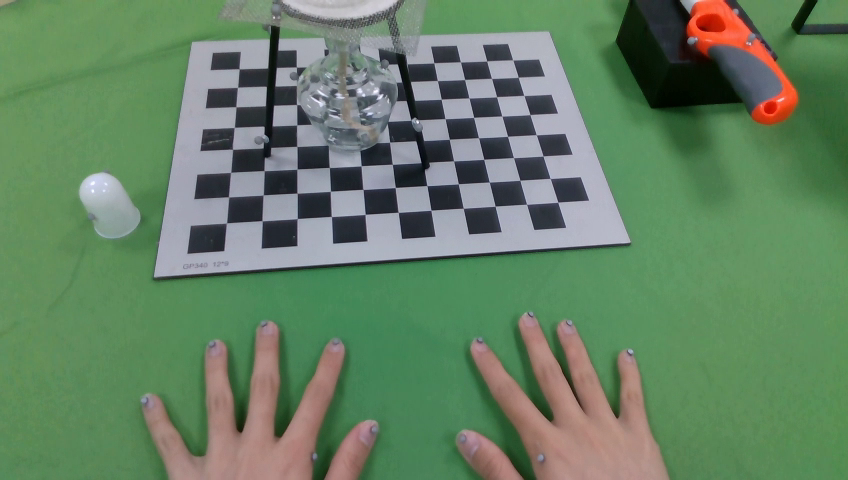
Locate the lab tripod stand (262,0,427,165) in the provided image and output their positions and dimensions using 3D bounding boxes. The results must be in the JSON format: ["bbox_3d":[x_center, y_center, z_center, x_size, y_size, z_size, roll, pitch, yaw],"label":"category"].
[{"bbox_3d":[-0.056,-0.130,0.452,0.148,0.132,0.147,3,53,-4],"label":"lab tripod stand"}]

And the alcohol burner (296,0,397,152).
[{"bbox_3d":[-0.060,-0.126,0.460,0.078,0.120,0.077,1,55,0],"label":"alcohol burner"}]

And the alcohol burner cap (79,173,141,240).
[{"bbox_3d":[-0.224,-0.026,0.426,0.034,0.048,0.033,2,54,-3],"label":"alcohol burner cap"}]

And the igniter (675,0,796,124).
[{"bbox_3d":[0.249,-0.197,0.533,0.057,0.025,0.273,-6,52,-4],"label":"igniter"}]

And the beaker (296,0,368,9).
[{"bbox_3d":[-0.058,-0.196,0.357,0.074,0.101,0.083,3,54,-2],"label":"beaker"}]

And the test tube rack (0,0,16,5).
[{"bbox_3d":[-0.374,-0.307,0.592,0.242,0.086,0.066,-34,63,-25],"label":"test tube rack"}]

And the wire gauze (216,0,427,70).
[{"bbox_3d":[-0.057,-0.167,0.397,0.125,0.011,0.120,13,56,0],"label":"wire gauze"}]
